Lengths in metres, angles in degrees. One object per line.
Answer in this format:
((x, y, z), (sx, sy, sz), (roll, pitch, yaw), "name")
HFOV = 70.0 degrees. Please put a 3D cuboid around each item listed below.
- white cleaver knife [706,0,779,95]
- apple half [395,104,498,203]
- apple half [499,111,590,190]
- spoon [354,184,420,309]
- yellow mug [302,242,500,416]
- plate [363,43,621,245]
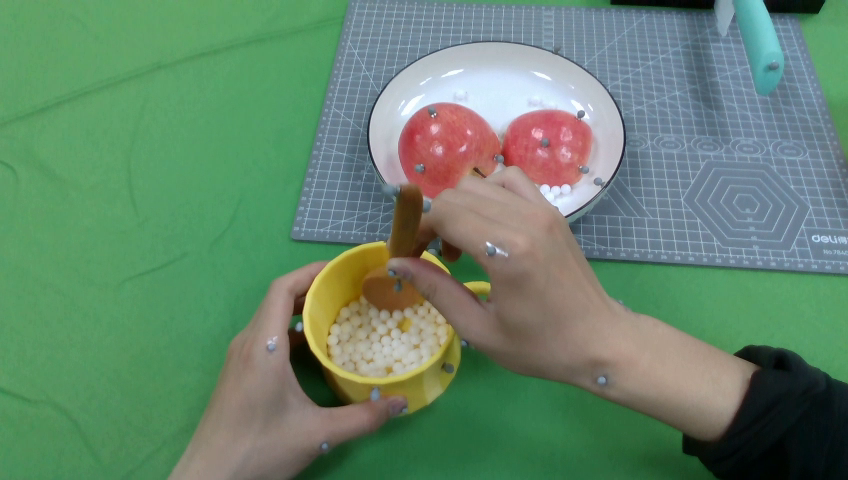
((0.288, -0.234, 0.573), (0.021, 0.066, 0.284), (1, 54, 9), "white cleaver knife")
((0.017, -0.077, 0.483), (0.081, 0.054, 0.074), (-35, 60, -17), "apple half")
((0.099, -0.082, 0.494), (0.081, 0.033, 0.080), (-1, 60, 2), "apple half")
((-0.018, 0.013, 0.346), (0.042, 0.194, 0.021), (10, 73, -5), "spoon")
((-0.011, 0.056, 0.406), (0.131, 0.064, 0.099), (-16, 59, -9), "yellow mug")
((0.054, -0.081, 0.503), (0.209, 0.038, 0.207), (-1, 58, 2), "plate")
